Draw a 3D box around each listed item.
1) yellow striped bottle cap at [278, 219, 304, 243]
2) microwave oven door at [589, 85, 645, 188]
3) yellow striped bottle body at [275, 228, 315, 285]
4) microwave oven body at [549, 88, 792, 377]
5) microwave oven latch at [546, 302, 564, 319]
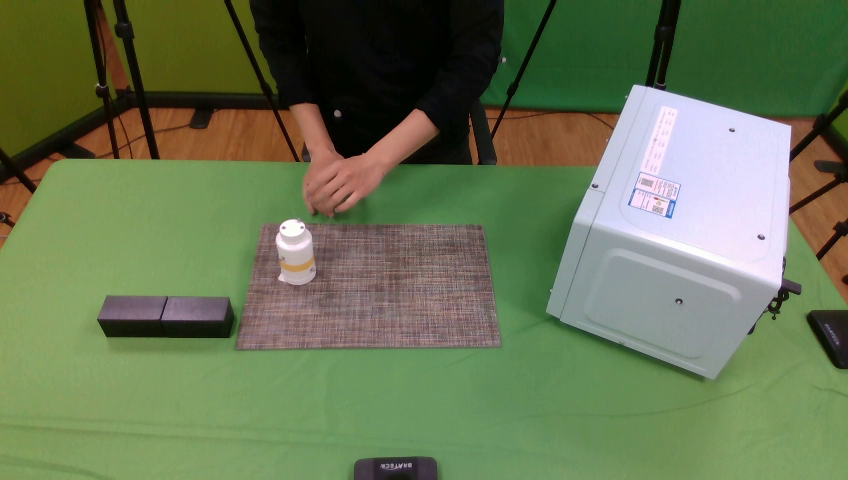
[{"bbox_3d":[-0.229,-0.016,1.047,0.044,0.019,0.044,3,45,-3],"label":"yellow striped bottle cap"},{"bbox_3d":[0.341,-0.107,1.149,0.039,0.245,0.354,20,48,15],"label":"microwave oven door"},{"bbox_3d":[-0.231,0.021,1.085,0.063,0.121,0.062,2,46,-2],"label":"yellow striped bottle body"},{"bbox_3d":[0.456,-0.028,1.088,0.325,0.261,0.440,20,47,16],"label":"microwave oven body"},{"bbox_3d":[0.242,0.102,1.081,0.030,0.029,0.079,22,48,17],"label":"microwave oven latch"}]
